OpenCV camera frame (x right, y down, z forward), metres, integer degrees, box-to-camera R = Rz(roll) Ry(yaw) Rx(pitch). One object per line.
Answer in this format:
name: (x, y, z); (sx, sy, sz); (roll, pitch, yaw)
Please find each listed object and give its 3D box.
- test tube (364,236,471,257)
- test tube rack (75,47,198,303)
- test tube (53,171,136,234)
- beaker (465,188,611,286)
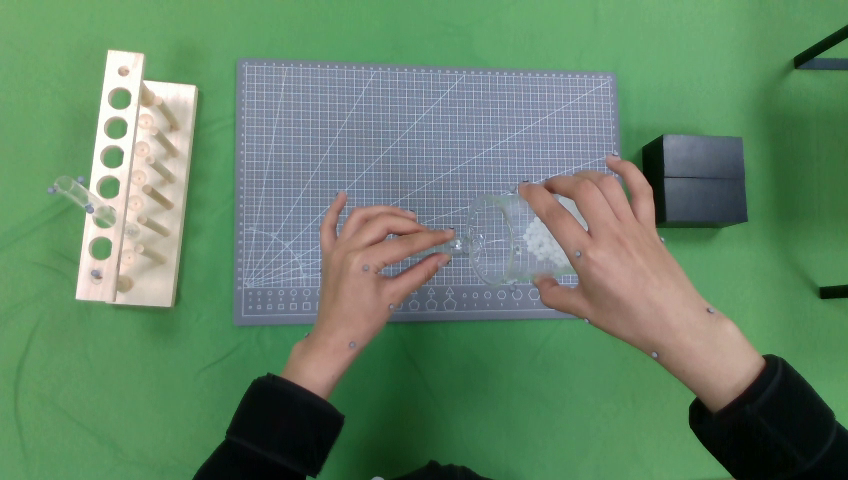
test tube: (-0.011, 0.006, 0.567); (0.017, 0.149, 0.017); (2, 86, -39)
test tube rack: (-0.287, -0.060, 0.616); (0.067, 0.085, 0.241); (4, 83, -7)
test tube: (-0.300, -0.031, 0.561); (0.017, 0.150, 0.017); (1, 76, -5)
beaker: (0.092, -0.005, 0.494); (0.101, 0.084, 0.074); (-5, 85, -23)
